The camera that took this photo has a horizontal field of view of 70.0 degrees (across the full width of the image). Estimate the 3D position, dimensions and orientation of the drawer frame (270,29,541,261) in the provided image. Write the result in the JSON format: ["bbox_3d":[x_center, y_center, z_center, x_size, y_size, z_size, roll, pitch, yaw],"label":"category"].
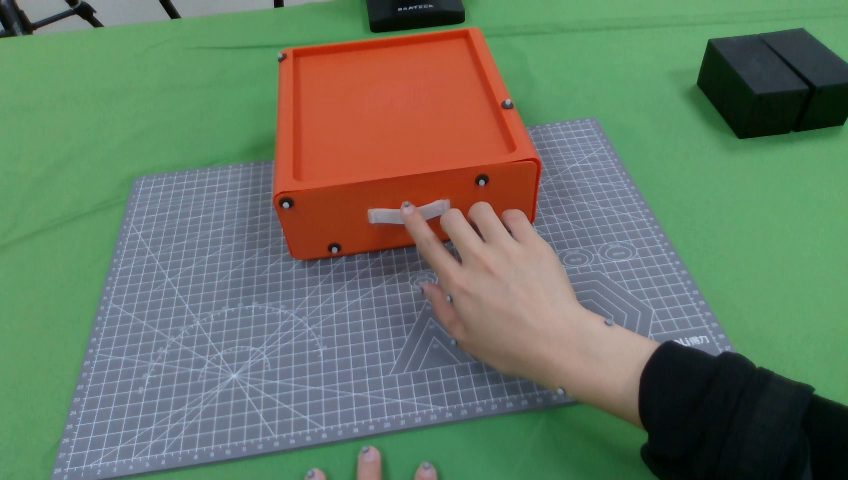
[{"bbox_3d":[-0.025,-0.092,0.533,0.202,0.083,0.211,-9,45,-4],"label":"drawer frame"}]

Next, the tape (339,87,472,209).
[{"bbox_3d":[-0.017,-0.084,0.537,0.117,0.053,0.115,-2,46,2],"label":"tape"}]

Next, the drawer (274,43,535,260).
[{"bbox_3d":[-0.025,-0.089,0.534,0.195,0.074,0.209,-9,45,-3],"label":"drawer"}]
